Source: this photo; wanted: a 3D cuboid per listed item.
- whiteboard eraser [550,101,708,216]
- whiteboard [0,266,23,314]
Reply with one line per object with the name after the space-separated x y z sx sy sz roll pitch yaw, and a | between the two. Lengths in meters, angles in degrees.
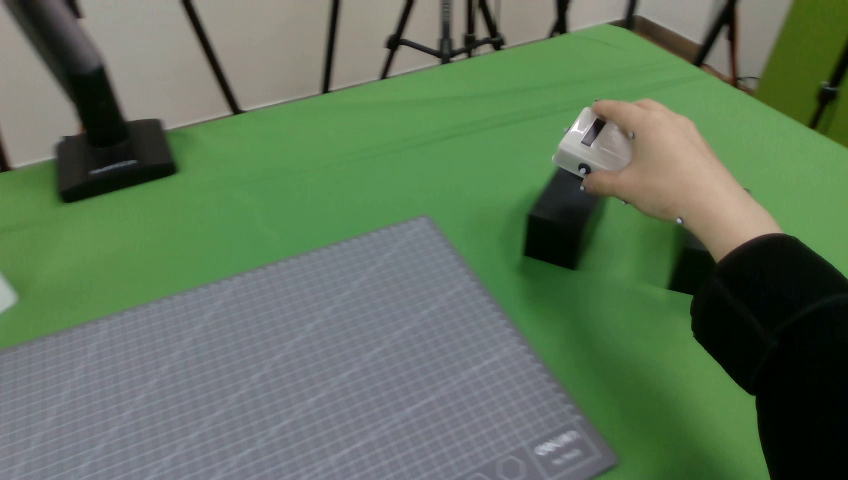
0.163 -0.064 0.487 0.112 0.042 0.055 28 60 15 | whiteboard eraser
-0.503 -0.018 0.424 0.143 0.308 0.216 5 39 37 | whiteboard
